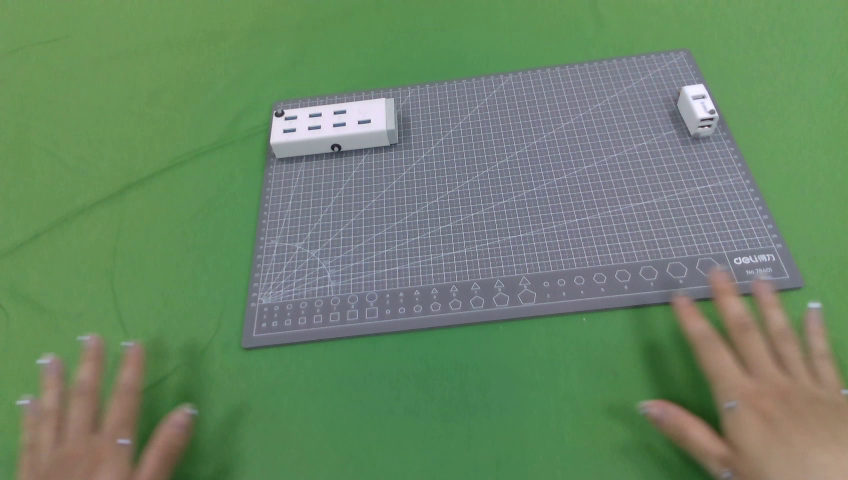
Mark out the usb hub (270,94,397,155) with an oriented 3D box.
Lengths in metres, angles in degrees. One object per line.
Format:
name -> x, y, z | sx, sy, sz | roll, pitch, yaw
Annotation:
usb hub -> -0.091, -0.118, 0.614 | 0.125, 0.025, 0.049 | -6, 55, 3

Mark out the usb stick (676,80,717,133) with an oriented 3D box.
usb stick -> 0.257, -0.132, 0.576 | 0.021, 0.027, 0.058 | -9, 52, 4
